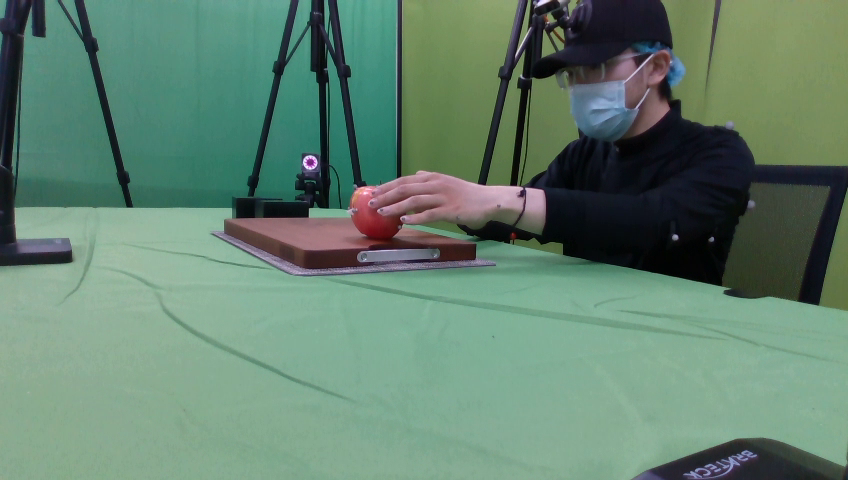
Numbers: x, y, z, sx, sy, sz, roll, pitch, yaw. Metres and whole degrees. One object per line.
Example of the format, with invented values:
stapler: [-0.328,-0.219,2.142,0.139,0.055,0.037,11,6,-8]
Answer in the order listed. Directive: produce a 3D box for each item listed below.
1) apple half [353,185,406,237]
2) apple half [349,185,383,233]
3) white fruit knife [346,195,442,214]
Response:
apple half: [-0.057,-0.040,0.881,0.053,0.074,0.081,23,17,40]
apple half: [-0.088,-0.048,0.909,0.032,0.081,0.082,14,13,42]
white fruit knife: [-0.042,-0.054,0.936,0.016,0.027,0.208,8,11,40]
